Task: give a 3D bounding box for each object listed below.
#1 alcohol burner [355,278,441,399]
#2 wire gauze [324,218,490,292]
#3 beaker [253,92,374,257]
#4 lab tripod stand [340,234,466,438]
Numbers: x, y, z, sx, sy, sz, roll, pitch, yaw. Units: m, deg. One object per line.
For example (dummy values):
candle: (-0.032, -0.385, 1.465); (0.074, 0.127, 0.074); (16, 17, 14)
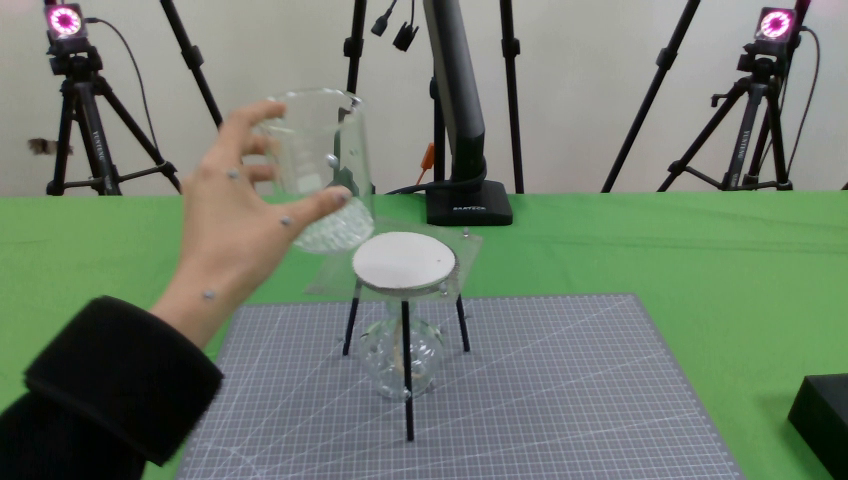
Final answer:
alcohol burner: (-0.023, 0.083, 0.541); (0.078, 0.120, 0.077); (2, 30, -1)
wire gauze: (-0.015, 0.006, 0.488); (0.125, 0.011, 0.120); (4, 25, -9)
beaker: (-0.072, -0.047, 0.435); (0.084, 0.101, 0.073); (-28, 43, -33)
lab tripod stand: (-0.016, 0.075, 0.536); (0.148, 0.132, 0.147); (2, 32, -1)
